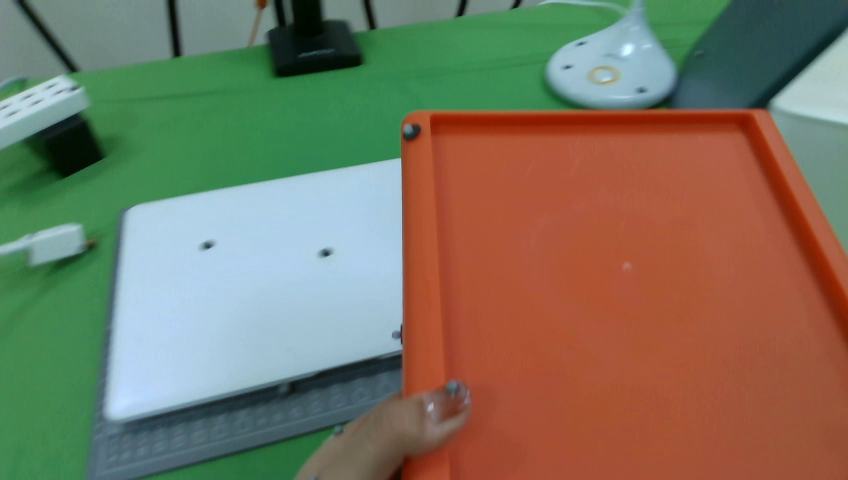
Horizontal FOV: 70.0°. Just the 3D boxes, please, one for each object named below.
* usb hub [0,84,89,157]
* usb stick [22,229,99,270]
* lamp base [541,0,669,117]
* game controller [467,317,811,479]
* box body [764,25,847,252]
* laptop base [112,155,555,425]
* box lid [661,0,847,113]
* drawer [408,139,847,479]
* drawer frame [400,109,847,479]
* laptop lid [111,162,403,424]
[{"bbox_3d":[-0.423,-0.120,0.632,0.049,0.025,0.125,29,52,25],"label":"usb hub"},{"bbox_3d":[-0.335,0.007,0.563,0.021,0.027,0.059,7,18,38],"label":"usb stick"},{"bbox_3d":[0.235,-0.269,0.735,0.160,0.182,0.178,16,45,17],"label":"lamp base"},{"bbox_3d":[0.094,0.086,0.265,0.155,0.052,0.096,-4,79,-3],"label":"game controller"},{"bbox_3d":[0.441,-0.122,0.593,0.253,0.162,0.362,16,47,17],"label":"box body"},{"bbox_3d":[-0.088,0.026,0.551,0.355,0.023,0.233,-11,49,-11],"label":"laptop base"},{"bbox_3d":[0.316,-0.193,0.609,0.015,0.264,0.369,32,49,1],"label":"box lid"},{"bbox_3d":[0.090,0.045,0.281,0.194,0.074,0.209,-1,51,-2],"label":"drawer"},{"bbox_3d":[0.089,0.040,0.280,0.202,0.083,0.211,-2,52,-2],"label":"drawer frame"},{"bbox_3d":[-0.087,0.019,0.542,0.357,0.013,0.239,-10,47,-10],"label":"laptop lid"}]
